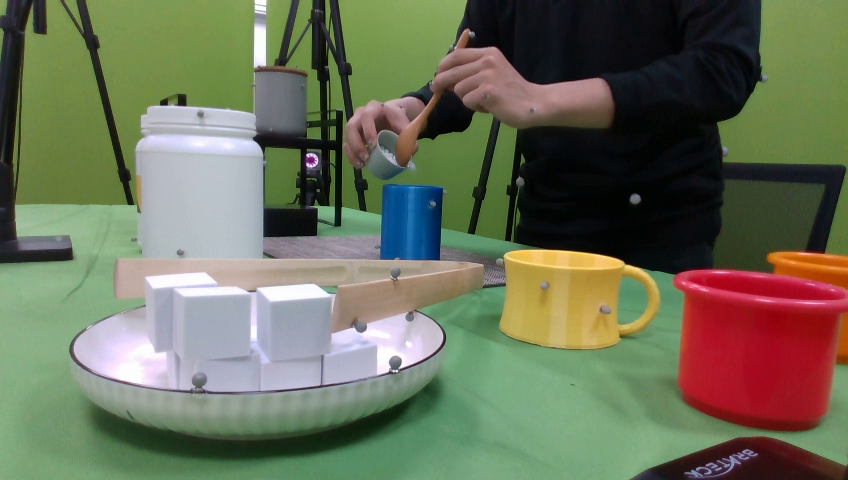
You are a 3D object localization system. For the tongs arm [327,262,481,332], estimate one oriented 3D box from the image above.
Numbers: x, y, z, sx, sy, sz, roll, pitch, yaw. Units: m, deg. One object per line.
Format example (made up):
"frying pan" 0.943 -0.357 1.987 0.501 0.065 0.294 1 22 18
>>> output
"tongs arm" -0.003 0.036 0.493 0.050 0.026 0.386 1 0 19

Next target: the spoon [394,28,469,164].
"spoon" 0.009 -0.185 0.787 0.022 0.193 0.041 20 17 -39

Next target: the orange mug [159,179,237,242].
"orange mug" -0.368 -0.051 0.991 0.127 0.101 0.083 -10 14 -41

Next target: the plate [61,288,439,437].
"plate" -0.095 0.069 0.362 0.208 0.039 0.207 3 7 0

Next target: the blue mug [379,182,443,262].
"blue mug" -0.019 -0.026 0.832 0.082 0.106 0.116 1 7 -5

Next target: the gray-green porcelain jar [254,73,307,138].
"gray-green porcelain jar" -0.298 -0.277 1.259 0.106 0.126 0.106 3 8 0

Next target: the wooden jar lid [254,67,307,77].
"wooden jar lid" -0.296 -0.339 1.251 0.108 0.020 0.108 1 7 0

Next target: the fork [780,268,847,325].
"fork" 0.324 0.018 0.441 0.028 0.018 0.207 -3 -36 -5

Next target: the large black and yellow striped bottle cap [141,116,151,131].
"large black and yellow striped bottle cap" -0.328 -0.158 0.837 0.115 0.019 0.115 2 6 0

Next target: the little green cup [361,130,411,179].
"little green cup" -0.054 -0.114 0.823 0.062 0.061 0.038 -6 -29 -46

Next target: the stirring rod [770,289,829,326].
"stirring rod" 0.349 0.022 0.468 0.014 0.006 0.175 -12 -26 -50

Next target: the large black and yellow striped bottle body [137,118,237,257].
"large black and yellow striped bottle body" -0.330 -0.075 0.849 0.131 0.184 0.130 2 8 0

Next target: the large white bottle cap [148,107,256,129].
"large white bottle cap" -0.250 -0.137 0.686 0.115 0.018 0.115 2 8 0

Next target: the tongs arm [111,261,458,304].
"tongs arm" -0.080 0.032 0.527 0.028 0.027 0.389 -3 -3 33

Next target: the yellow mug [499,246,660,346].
"yellow mug" 0.130 0.045 0.508 0.131 0.064 0.100 4 7 6

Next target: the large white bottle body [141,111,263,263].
"large white bottle body" -0.254 -0.053 0.697 0.131 0.184 0.130 2 7 0
